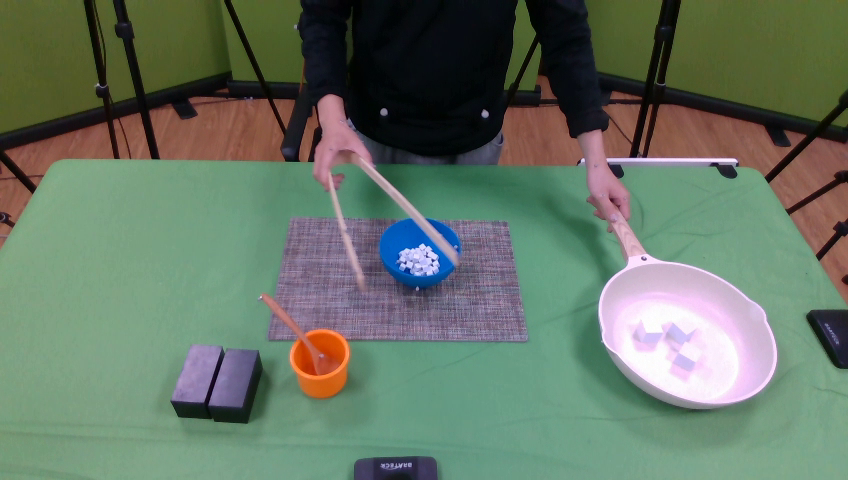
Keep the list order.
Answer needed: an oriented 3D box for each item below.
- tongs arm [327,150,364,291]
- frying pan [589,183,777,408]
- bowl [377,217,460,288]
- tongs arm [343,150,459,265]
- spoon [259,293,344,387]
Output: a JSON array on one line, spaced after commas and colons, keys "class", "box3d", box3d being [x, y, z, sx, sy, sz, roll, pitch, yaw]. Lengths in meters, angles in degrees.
[{"class": "tongs arm", "box3d": [-0.120, -0.048, 0.987, 0.051, 0.026, 0.382, -14, 37, -11]}, {"class": "frying pan", "box3d": [0.412, 0.079, 1.096, 0.307, 0.103, 0.484, -8, 56, -13]}, {"class": "bowl", "box3d": [-0.011, 0.036, 1.118, 0.151, 0.077, 0.150, 2, 46, -2]}, {"class": "tongs arm", "box3d": [-0.047, -0.067, 1.008, 0.028, 0.028, 0.385, -25, 41, -18]}, {"class": "spoon", "box3d": [-0.191, 0.155, 0.947, 0.021, 0.194, 0.041, -12, 28, 51]}]
